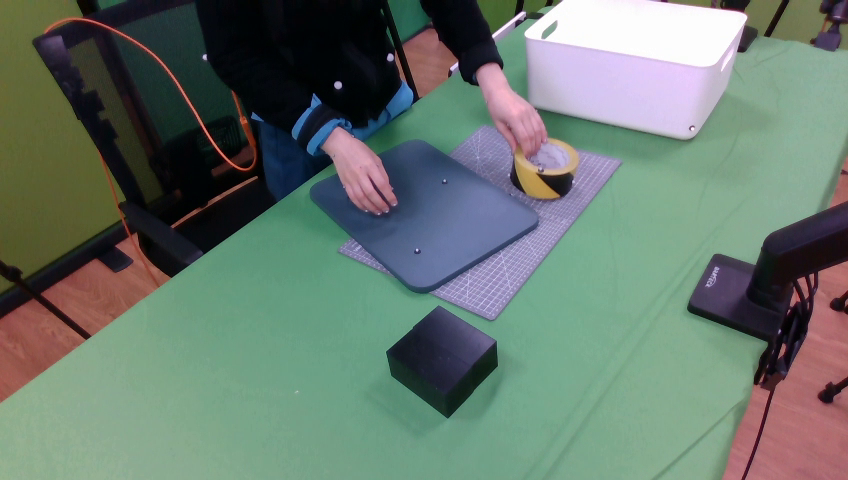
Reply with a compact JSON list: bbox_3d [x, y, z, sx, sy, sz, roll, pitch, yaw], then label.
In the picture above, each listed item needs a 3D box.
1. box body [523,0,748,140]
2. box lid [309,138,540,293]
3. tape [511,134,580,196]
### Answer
[{"bbox_3d":[0.412,-0.354,1.212,0.361,0.161,0.254,20,48,29],"label":"box body"},{"bbox_3d":[-0.010,-0.060,1.045,0.264,0.015,0.368,-30,45,-24],"label":"box lid"},{"bbox_3d":[0.206,-0.130,1.037,0.117,0.053,0.116,2,42,-1],"label":"tape"}]
